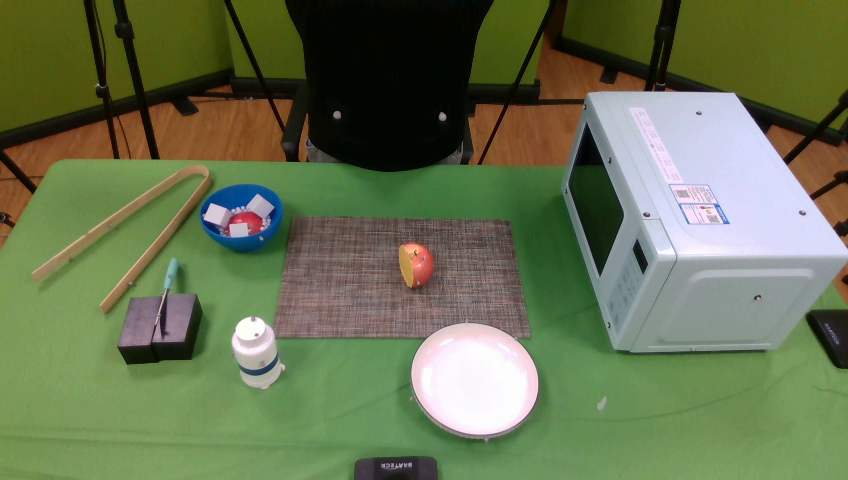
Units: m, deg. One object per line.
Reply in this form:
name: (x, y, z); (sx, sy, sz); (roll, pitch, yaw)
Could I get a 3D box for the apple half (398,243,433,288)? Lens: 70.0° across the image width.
apple half: (-0.012, 0.046, 1.115); (0.053, 0.075, 0.080); (-11, 44, -20)

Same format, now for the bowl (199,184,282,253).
bowl: (-0.346, -0.030, 1.164); (0.151, 0.077, 0.150); (3, 45, -3)

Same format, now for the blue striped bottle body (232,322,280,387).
blue striped bottle body: (-0.262, 0.171, 0.944); (0.063, 0.121, 0.062); (2, 46, -2)

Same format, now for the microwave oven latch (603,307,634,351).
microwave oven latch: (0.333, 0.153, 1.044); (0.030, 0.029, 0.078); (0, 45, -4)

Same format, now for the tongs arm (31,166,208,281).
tongs arm: (-0.578, -0.040, 1.185); (0.050, 0.026, 0.384); (23, 47, 17)

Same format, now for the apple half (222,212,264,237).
apple half: (-0.347, -0.033, 1.162); (0.081, 0.033, 0.081); (4, 47, -4)

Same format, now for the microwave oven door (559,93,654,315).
microwave oven door: (0.328, -0.074, 1.123); (0.039, 0.245, 0.353); (-1, 46, -5)

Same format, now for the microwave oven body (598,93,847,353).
microwave oven body: (0.476, -0.041, 1.109); (0.326, 0.261, 0.438); (-1, 45, -4)

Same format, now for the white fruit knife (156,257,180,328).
white fruit knife: (-0.440, 0.085, 1.037); (0.016, 0.027, 0.206); (9, 26, -19)

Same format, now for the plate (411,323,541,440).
plate: (0.082, 0.228, 0.976); (0.208, 0.039, 0.206); (2, 45, -2)

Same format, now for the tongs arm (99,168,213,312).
tongs arm: (-0.503, -0.013, 1.167); (0.028, 0.028, 0.385); (11, 45, 11)

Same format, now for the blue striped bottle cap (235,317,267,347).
blue striped bottle cap: (-0.259, 0.137, 0.907); (0.044, 0.021, 0.044); (3, 43, -2)
